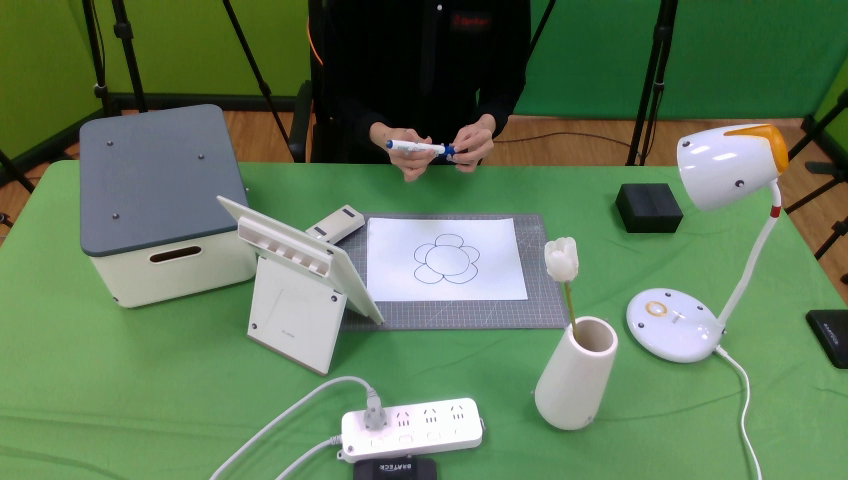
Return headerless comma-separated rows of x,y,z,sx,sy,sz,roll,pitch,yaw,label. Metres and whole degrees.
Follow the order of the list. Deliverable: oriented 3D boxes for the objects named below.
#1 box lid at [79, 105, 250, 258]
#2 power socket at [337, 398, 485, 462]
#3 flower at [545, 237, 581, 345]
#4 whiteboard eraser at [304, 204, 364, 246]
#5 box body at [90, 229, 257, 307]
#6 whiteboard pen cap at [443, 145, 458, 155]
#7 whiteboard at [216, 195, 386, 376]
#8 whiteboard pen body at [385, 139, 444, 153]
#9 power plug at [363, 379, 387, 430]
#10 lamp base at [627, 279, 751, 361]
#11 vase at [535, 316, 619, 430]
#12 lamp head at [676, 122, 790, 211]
-0.467,-0.120,1.075,0.264,0.015,0.369,-13,48,-17,box lid
-0.018,0.285,0.914,0.227,0.033,0.071,-4,46,-8,power socket
0.213,0.137,0.846,0.038,0.364,0.044,21,55,40,flower
-0.175,-0.022,1.188,0.055,0.042,0.112,36,53,26,whiteboard eraser
-0.471,-0.070,1.131,0.254,0.161,0.361,-14,49,-17,box body
0.044,-0.163,1.098,0.033,0.018,0.018,0,42,-36,whiteboard pen cap
-0.212,0.093,0.939,0.216,0.307,0.143,24,70,17,whiteboard
-0.006,-0.163,1.060,0.141,0.017,0.017,0,42,-36,whiteboard pen body
-0.071,0.252,0.911,0.035,0.053,0.072,3,40,0,power plug
0.460,0.100,1.027,0.178,0.181,0.160,27,51,17,lamp base
0.229,0.200,0.901,0.098,0.201,0.097,3,46,-3,vase
0.423,-0.104,0.819,0.122,0.113,0.112,-13,33,40,lamp head
